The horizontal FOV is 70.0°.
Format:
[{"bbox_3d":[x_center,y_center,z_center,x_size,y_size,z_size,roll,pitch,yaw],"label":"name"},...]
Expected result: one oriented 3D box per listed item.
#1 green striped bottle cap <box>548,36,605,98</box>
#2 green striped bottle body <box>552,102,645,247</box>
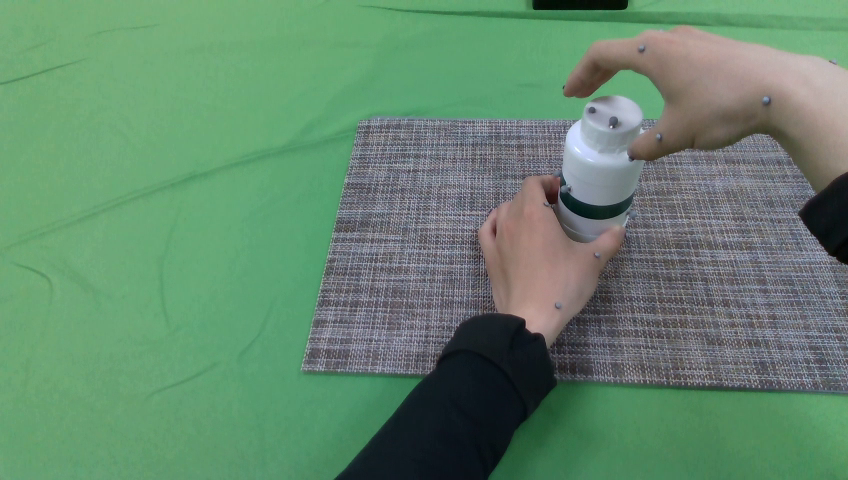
[{"bbox_3d":[0.115,-0.130,0.458,0.020,0.044,0.044,37,55,-10],"label":"green striped bottle cap"},{"bbox_3d":[0.142,-0.054,0.498,0.063,0.120,0.062,-2,50,3],"label":"green striped bottle body"}]
